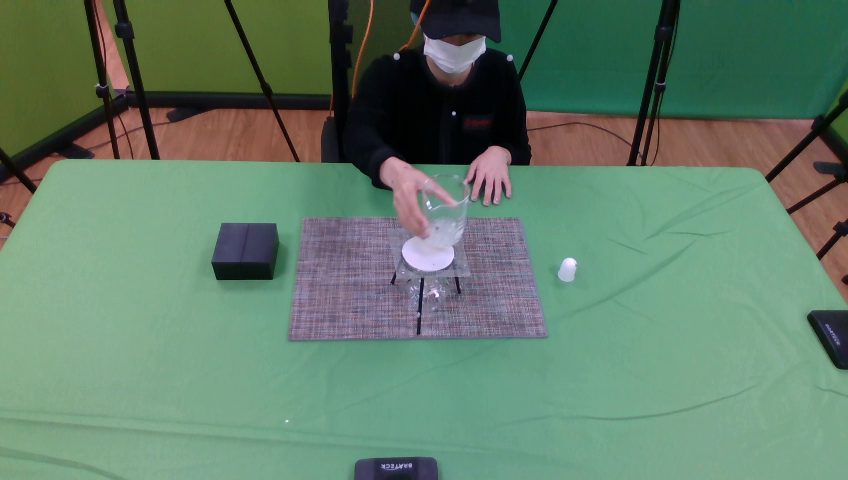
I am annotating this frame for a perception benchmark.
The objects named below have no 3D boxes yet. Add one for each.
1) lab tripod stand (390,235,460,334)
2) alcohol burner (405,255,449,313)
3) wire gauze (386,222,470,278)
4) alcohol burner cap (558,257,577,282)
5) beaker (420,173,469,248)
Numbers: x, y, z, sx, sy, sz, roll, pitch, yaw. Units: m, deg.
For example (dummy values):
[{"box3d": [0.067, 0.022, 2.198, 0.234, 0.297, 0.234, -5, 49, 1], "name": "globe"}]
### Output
[{"box3d": [-0.002, 0.067, 1.050, 0.148, 0.132, 0.147, 1, 47, -1], "name": "lab tripod stand"}, {"box3d": [0.006, 0.071, 1.060, 0.078, 0.120, 0.077, 1, 45, -1], "name": "alcohol burner"}, {"box3d": [0.005, 0.016, 1.005, 0.125, 0.011, 0.120, -5, 46, -8], "name": "wire gauze"}, {"box3d": [0.276, 0.053, 1.154, 0.034, 0.048, 0.033, 1, 46, -1], "name": "alcohol burner cap"}, {"box3d": [0.029, -0.042, 0.958, 0.074, 0.101, 0.084, 23, 49, 19], "name": "beaker"}]
